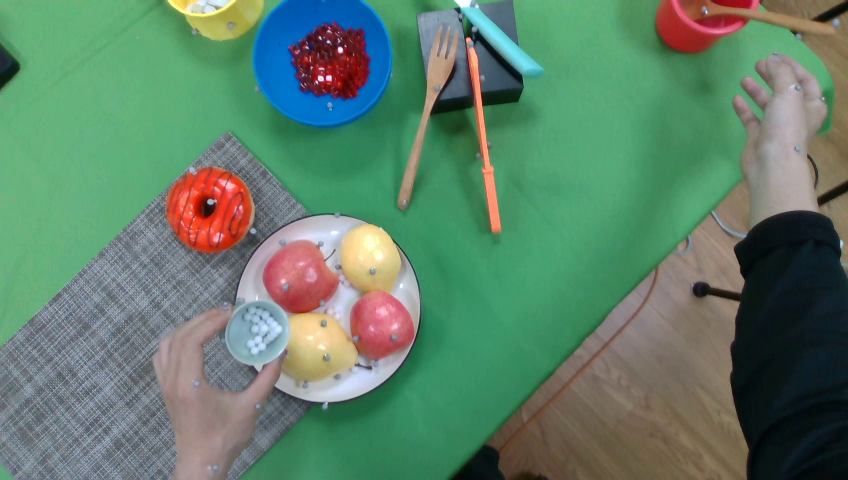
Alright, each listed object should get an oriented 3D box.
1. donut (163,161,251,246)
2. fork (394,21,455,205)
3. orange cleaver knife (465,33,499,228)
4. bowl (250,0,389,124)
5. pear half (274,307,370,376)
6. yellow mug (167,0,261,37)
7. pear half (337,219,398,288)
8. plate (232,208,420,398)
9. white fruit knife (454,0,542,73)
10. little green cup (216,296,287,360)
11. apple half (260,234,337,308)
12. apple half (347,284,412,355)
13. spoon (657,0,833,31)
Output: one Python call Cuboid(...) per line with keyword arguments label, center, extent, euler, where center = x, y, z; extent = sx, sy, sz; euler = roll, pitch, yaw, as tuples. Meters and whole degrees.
Cuboid(label="donut", center=(-0.246, -0.041, 0.688), extent=(0.099, 0.048, 0.099), euler=(0, 88, 3))
Cuboid(label="fork", center=(-0.003, -0.136, 0.673), extent=(0.028, 0.018, 0.208), euler=(14, 106, -6))
Cuboid(label="orange cleaver knife", center=(0.063, -0.119, 0.674), extent=(0.012, 0.076, 0.212), euler=(-8, 111, 5))
Cuboid(label="bowl", center=(-0.111, -0.197, 0.685), extent=(0.151, 0.077, 0.151), euler=(0, 86, 1))
Cuboid(label="pear half", center=(-0.111, 0.117, 0.664), extent=(0.110, 0.056, 0.076), euler=(18, 91, -2))
Cuboid(label="yellow mug", center=(-0.261, -0.300, 0.700), extent=(0.131, 0.064, 0.100), euler=(13, 87, 3))
Cuboid(label="pear half", center=(-0.066, 0.022, 0.669), extent=(0.070, 0.031, 0.088), euler=(-14, 96, 23))
Cuboid(label="plate", center=(-0.107, 0.069, 0.681), extent=(0.209, 0.038, 0.208), euler=(0, 86, 1))
Cuboid(label="white fruit knife", center=(0.050, -0.257, 0.668), extent=(0.207, 0.016, 0.027), euler=(46, 59, 6))
Cuboid(label="little green cup", center=(-0.168, 0.083, 0.584), extent=(0.062, 0.038, 0.061), euler=(-1, 92, -37))
Cuboid(label="apple half", center=(-0.142, 0.035, 0.667), extent=(0.074, 0.053, 0.081), euler=(-27, 89, 0))
Cuboid(label="apple half", center=(-0.057, 0.090, 0.661), extent=(0.081, 0.033, 0.081), euler=(3, 100, 20))
Cuboid(label="spoon", center=(0.335, -0.245, 0.647), extent=(0.041, 0.022, 0.191), euler=(-50, 42, -3))
